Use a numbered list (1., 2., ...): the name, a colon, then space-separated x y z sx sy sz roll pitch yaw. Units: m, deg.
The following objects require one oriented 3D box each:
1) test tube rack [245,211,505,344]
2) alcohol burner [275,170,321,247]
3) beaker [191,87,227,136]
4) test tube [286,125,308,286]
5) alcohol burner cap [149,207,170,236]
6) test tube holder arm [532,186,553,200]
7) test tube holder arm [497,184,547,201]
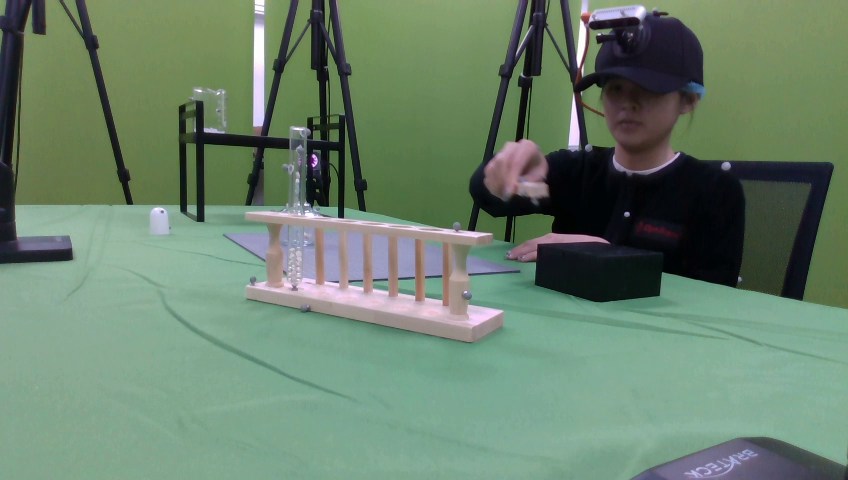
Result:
1. test tube rack: -0.049 0.025 0.547 0.241 0.085 0.067 7 8 29
2. alcohol burner: -0.199 -0.049 0.948 0.078 0.119 0.078 1 7 0
3. beaker: -0.476 -0.284 1.345 0.074 0.100 0.083 -3 10 -37
4. test tube: -0.118 -0.030 0.558 0.017 0.150 0.017 4 12 -1
5. alcohol burner cap: -0.445 -0.032 1.019 0.034 0.048 0.034 4 8 0
6. test tube holder arm: 0.126 -0.053 0.683 0.010 0.015 0.087 3 6 -8
7. test tube holder arm: 0.114 -0.059 0.726 0.013 0.015 0.178 2 6 -9
